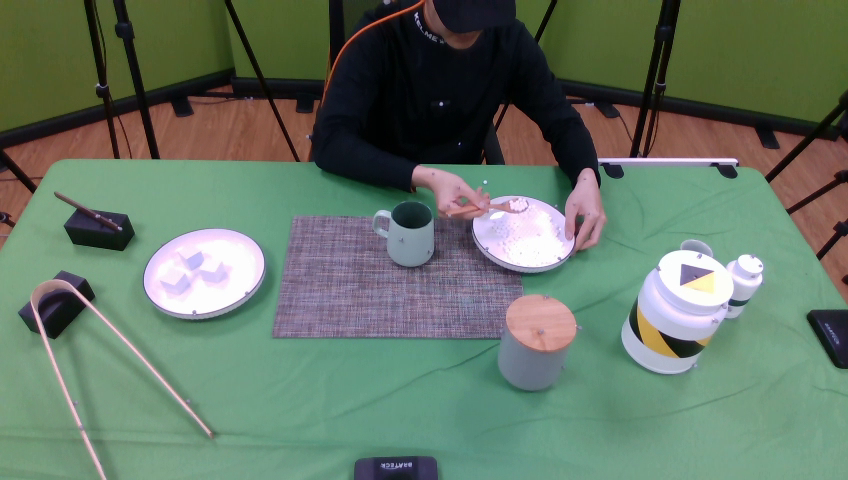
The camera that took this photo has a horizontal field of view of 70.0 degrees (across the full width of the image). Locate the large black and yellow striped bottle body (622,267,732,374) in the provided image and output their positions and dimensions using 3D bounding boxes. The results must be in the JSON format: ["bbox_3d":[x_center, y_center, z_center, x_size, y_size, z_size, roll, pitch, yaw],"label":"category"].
[{"bbox_3d":[0.415,0.119,0.997,0.131,0.185,0.130,2,46,-2],"label":"large black and yellow striped bottle body"}]

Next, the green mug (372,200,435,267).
[{"bbox_3d":[-0.040,-0.016,1.146,0.125,0.105,0.092,17,48,13],"label":"green mug"}]

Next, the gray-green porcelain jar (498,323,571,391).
[{"bbox_3d":[0.176,0.172,0.971,0.106,0.127,0.105,2,46,-2],"label":"gray-green porcelain jar"}]

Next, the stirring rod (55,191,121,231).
[{"bbox_3d":[-0.632,-0.055,1.138,0.175,0.014,0.006,24,51,19],"label":"stirring rod"}]

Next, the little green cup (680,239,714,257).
[{"bbox_3d":[0.530,0.033,1.189,0.061,0.039,0.061,2,48,-2],"label":"little green cup"}]

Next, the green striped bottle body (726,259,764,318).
[{"bbox_3d":[0.563,0.081,1.089,0.063,0.120,0.063,2,46,-2],"label":"green striped bottle body"}]

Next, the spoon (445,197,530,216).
[{"bbox_3d":[0.123,-0.064,1.166,0.194,0.022,0.041,-5,45,-30],"label":"spoon"}]

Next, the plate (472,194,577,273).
[{"bbox_3d":[0.196,-0.010,1.205,0.209,0.038,0.208,4,46,-4],"label":"plate"}]

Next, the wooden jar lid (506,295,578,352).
[{"bbox_3d":[0.179,0.130,0.925,0.108,0.021,0.107,2,43,-2],"label":"wooden jar lid"}]

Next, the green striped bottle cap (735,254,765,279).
[{"bbox_3d":[0.566,0.046,1.051,0.044,0.020,0.044,0,45,0],"label":"green striped bottle cap"}]

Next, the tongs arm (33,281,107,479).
[{"bbox_3d":[-0.517,0.214,0.910,0.051,0.026,0.383,-28,63,-27],"label":"tongs arm"}]

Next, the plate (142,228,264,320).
[{"bbox_3d":[-0.394,0.064,1.095,0.208,0.039,0.206,2,46,-2],"label":"plate"}]

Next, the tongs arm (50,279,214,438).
[{"bbox_3d":[-0.459,0.178,0.949,0.386,0.028,0.028,37,60,17],"label":"tongs arm"}]

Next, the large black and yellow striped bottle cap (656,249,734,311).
[{"bbox_3d":[0.419,0.061,0.938,0.115,0.019,0.114,2,47,-2],"label":"large black and yellow striped bottle cap"}]
